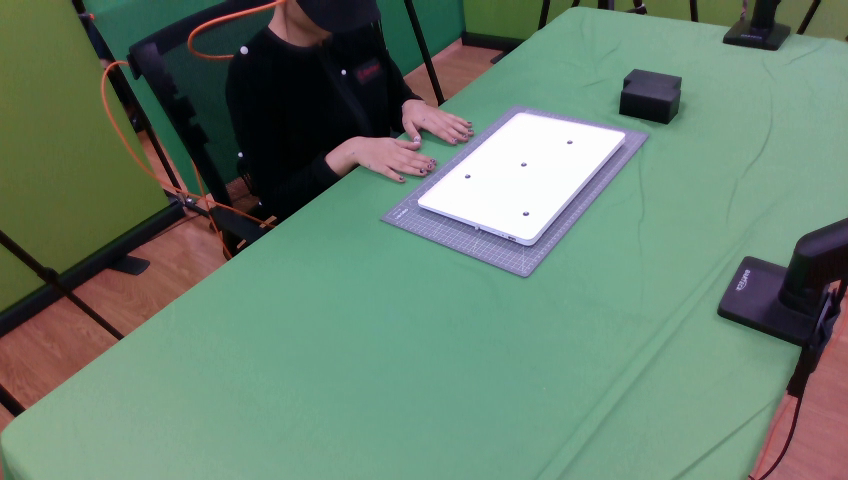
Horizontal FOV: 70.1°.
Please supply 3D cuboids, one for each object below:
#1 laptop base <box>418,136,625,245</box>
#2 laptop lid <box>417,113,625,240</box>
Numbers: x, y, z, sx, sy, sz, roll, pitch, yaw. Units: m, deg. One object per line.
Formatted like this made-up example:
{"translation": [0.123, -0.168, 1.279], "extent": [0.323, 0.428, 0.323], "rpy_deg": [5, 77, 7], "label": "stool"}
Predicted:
{"translation": [0.183, -0.123, 1.094], "extent": [0.233, 0.023, 0.355], "rpy_deg": [19, 48, 34], "label": "laptop base"}
{"translation": [0.180, -0.132, 1.088], "extent": [0.239, 0.013, 0.358], "rpy_deg": [22, 49, 34], "label": "laptop lid"}
